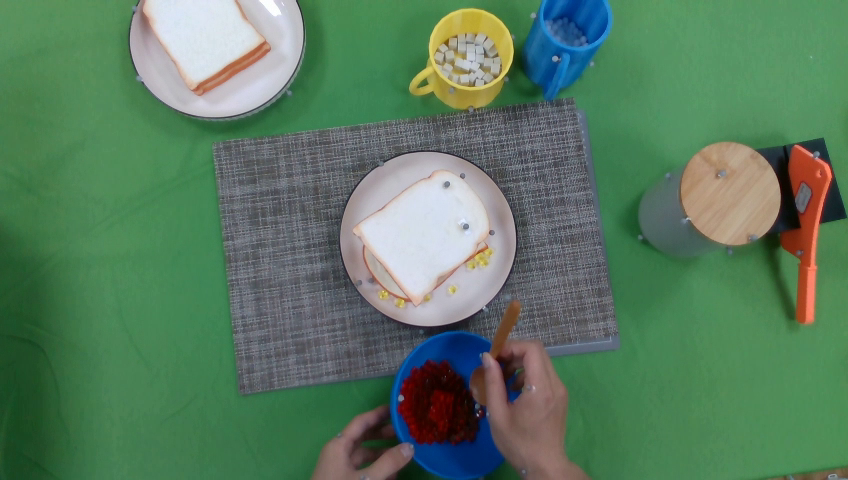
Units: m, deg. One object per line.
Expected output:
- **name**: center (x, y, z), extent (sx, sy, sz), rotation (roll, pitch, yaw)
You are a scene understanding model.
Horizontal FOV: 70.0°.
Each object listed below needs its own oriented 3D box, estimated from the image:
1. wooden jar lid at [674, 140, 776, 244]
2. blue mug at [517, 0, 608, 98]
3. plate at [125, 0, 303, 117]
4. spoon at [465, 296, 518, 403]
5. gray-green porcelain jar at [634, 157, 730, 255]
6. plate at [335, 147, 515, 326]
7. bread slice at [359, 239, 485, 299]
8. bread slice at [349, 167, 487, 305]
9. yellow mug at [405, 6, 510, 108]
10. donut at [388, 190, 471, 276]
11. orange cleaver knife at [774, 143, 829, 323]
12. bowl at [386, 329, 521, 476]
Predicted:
- **wooden jar lid**: center (0.309, -0.049, 0.628), extent (0.108, 0.021, 0.108), rotation (1, 85, -5)
- **blue mug**: center (0.157, -0.226, 0.717), extent (0.082, 0.106, 0.116), rotation (14, 82, 0)
- **plate**: center (-0.249, -0.246, 0.733), extent (0.208, 0.039, 0.207), rotation (0, 82, -3)
- **spoon**: center (0.069, 0.115, 0.612), extent (0.021, 0.195, 0.041), rotation (-29, 61, -24)
- **gray-green porcelain jar**: center (0.307, -0.039, 0.690), extent (0.106, 0.127, 0.105), rotation (0, 82, -3)
- **plate**: center (0.001, -0.004, 0.710), extent (0.209, 0.038, 0.208), rotation (0, 82, -3)
- **bread slice**: center (-0.008, 0.006, 0.712), extent (0.131, 0.019, 0.104), rotation (-40, 86, -9)
- **bread slice**: center (0.000, -0.014, 0.652), extent (0.134, 0.018, 0.107), rotation (-43, 93, -14)
- **yellow mug**: center (0.036, -0.212, 0.729), extent (0.131, 0.064, 0.099), rotation (-28, 84, -5)
- **donut**: center (0.008, -0.008, 0.683), extent (0.099, 0.048, 0.098), rotation (4, 78, -20)
- **orange cleaver knife**: center (0.439, -0.006, 0.714), extent (0.012, 0.076, 0.212), rotation (-9, 109, -3)
- **bowl**: center (0.022, 0.176, 0.662), extent (0.152, 0.077, 0.150), rotation (6, 73, -21)
